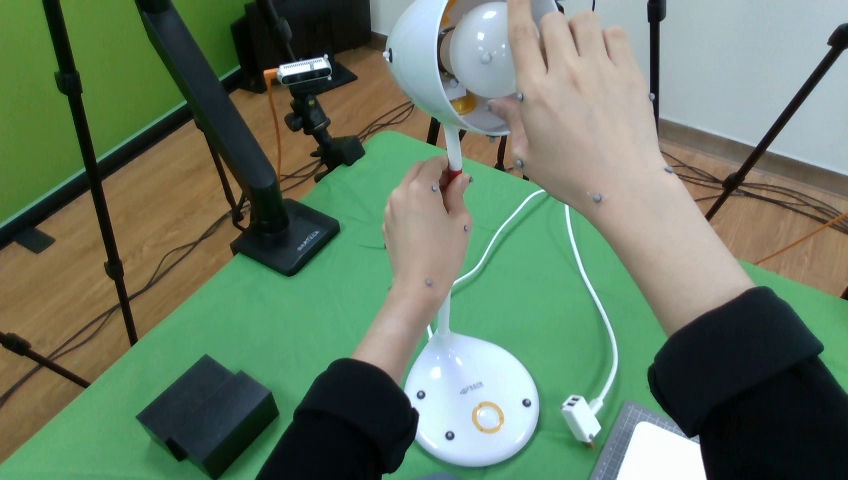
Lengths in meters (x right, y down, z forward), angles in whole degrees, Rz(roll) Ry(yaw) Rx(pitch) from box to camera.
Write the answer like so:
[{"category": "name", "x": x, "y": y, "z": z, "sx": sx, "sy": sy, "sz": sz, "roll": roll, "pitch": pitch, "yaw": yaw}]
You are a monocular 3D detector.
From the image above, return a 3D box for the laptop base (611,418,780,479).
[{"category": "laptop base", "x": 0.335, "y": 0.340, "z": 0.569, "sx": 0.352, "sy": 0.023, "sz": 0.234, "roll": 21, "pitch": 54, "yaw": 20}]

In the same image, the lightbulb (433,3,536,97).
[{"category": "lightbulb", "x": 0.034, "y": -0.133, "z": 0.425, "sx": 0.059, "sy": 0.060, "sz": 0.106, "roll": -24, "pitch": 26, "yaw": -20}]

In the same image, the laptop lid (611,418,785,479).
[{"category": "laptop lid", "x": 0.334, "y": 0.333, "z": 0.559, "sx": 0.354, "sy": 0.013, "sz": 0.241, "roll": 23, "pitch": 53, "yaw": 21}]

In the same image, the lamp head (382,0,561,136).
[{"category": "lamp head", "x": 0.024, "y": -0.135, "z": 0.455, "sx": 0.112, "sy": 0.113, "sz": 0.122, "roll": -29, "pitch": 21, "yaw": -24}]

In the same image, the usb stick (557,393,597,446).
[{"category": "usb stick", "x": 0.175, "y": 0.203, "z": 0.682, "sx": 0.027, "sy": 0.059, "sz": 0.021, "roll": -33, "pitch": 12, "yaw": -32}]

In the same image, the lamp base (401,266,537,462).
[{"category": "lamp base", "x": 0.043, "y": 0.125, "z": 0.667, "sx": 0.161, "sy": 0.182, "sz": 0.177, "roll": -28, "pitch": 49, "yaw": -23}]

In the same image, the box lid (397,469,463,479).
[{"category": "box lid", "x": -0.039, "y": 0.398, "z": 0.527, "sx": 0.264, "sy": 0.015, "sz": 0.367, "roll": -12, "pitch": 48, "yaw": -10}]
